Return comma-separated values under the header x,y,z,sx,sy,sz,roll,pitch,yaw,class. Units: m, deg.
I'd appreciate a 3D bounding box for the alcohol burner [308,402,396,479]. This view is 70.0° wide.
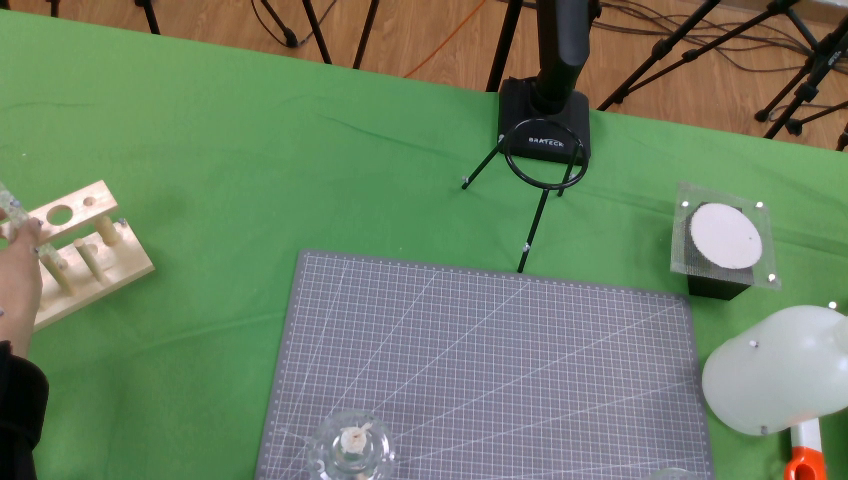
x,y,z,sx,sy,sz,roll,pitch,yaw,class
-0.061,0.176,0.526,0.078,0.120,0.077,5,61,-8,alcohol burner

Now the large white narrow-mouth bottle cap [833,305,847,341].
x,y,z,sx,sy,sz,roll,pitch,yaw,class
0.366,0.069,0.506,0.038,0.024,0.037,3,62,-6,large white narrow-mouth bottle cap

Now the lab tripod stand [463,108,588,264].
x,y,z,sx,sy,sz,roll,pitch,yaw,class
0.118,-0.066,0.672,0.149,0.132,0.147,4,63,-8,lab tripod stand

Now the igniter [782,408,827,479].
x,y,z,sx,sy,sz,roll,pitch,yaw,class
0.394,0.218,0.625,0.057,0.025,0.274,21,61,-12,igniter

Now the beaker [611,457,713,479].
x,y,z,sx,sy,sz,roll,pitch,yaw,class
0.202,0.240,0.541,0.084,0.101,0.073,4,61,-5,beaker

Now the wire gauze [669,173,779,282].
x,y,z,sx,sy,sz,roll,pitch,yaw,class
0.342,-0.015,0.694,0.121,0.011,0.124,14,61,-1,wire gauze

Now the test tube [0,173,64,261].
x,y,z,sx,sy,sz,roll,pitch,yaw,class
-0.359,-0.020,0.544,0.017,0.151,0.017,3,59,-5,test tube

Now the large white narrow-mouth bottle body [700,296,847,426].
x,y,z,sx,sy,sz,roll,pitch,yaw,class
0.356,0.110,0.581,0.102,0.196,0.101,3,62,-6,large white narrow-mouth bottle body

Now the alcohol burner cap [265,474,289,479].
x,y,z,sx,sy,sz,roll,pitch,yaw,class
-0.129,0.223,0.532,0.034,0.048,0.033,3,62,-5,alcohol burner cap

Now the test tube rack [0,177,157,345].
x,y,z,sx,sy,sz,roll,pitch,yaw,class
-0.391,0.040,0.566,0.242,0.086,0.066,-31,71,-22,test tube rack
